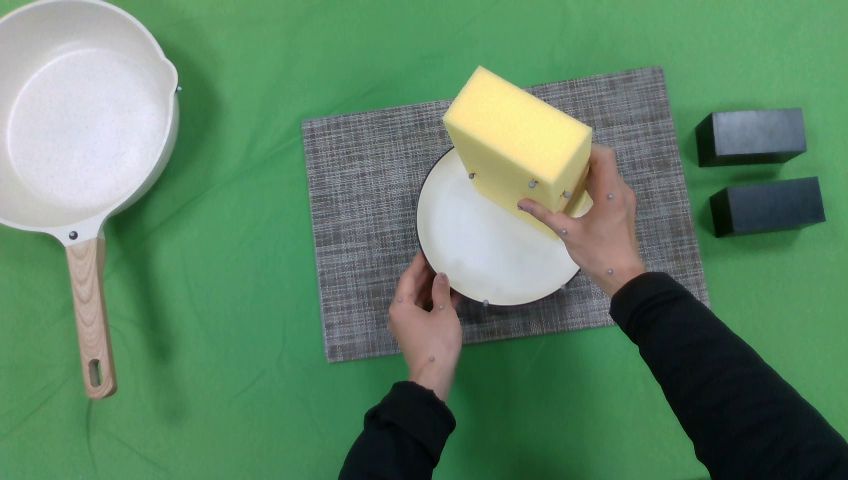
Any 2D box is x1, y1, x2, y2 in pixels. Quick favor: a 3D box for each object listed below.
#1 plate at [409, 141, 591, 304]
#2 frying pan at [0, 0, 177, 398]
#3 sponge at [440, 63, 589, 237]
[{"bbox_3d":[0.088,-0.027,0.709,0.207,0.039,0.207,0,83,4],"label":"plate"},{"bbox_3d":[-0.412,-0.054,0.716,0.307,0.103,0.484,-16,74,3],"label":"frying pan"},{"bbox_3d":[0.098,-0.080,0.617,0.117,0.208,0.061,33,86,18],"label":"sponge"}]
